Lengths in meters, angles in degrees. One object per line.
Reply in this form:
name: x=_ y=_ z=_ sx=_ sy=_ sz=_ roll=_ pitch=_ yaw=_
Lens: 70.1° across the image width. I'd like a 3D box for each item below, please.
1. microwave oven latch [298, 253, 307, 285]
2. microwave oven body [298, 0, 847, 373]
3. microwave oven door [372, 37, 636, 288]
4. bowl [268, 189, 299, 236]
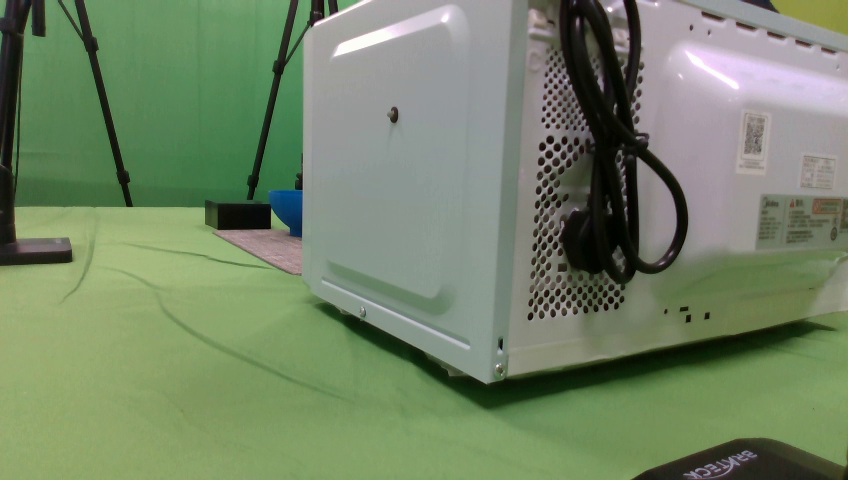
microwave oven latch: x=-0.081 y=0.027 z=0.582 sx=0.079 sy=0.029 sz=0.030 roll=-1 pitch=7 yaw=-32
microwave oven body: x=0.151 y=-0.055 z=0.542 sx=0.444 sy=0.260 sz=0.324 roll=-2 pitch=7 yaw=-33
microwave oven door: x=0.110 y=-0.080 z=0.686 sx=0.358 sy=0.243 sz=0.039 roll=-2 pitch=9 yaw=-33
bowl: x=-0.205 y=-0.049 z=1.090 sx=0.151 sy=0.077 sz=0.151 roll=3 pitch=7 yaw=0
